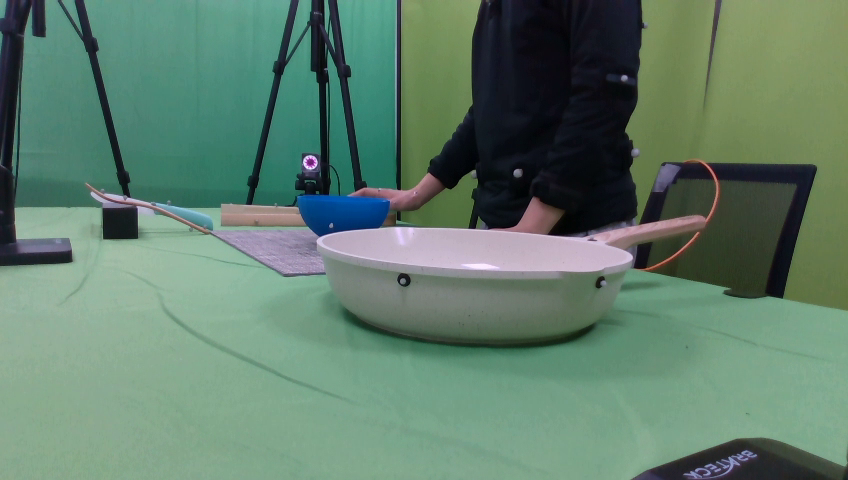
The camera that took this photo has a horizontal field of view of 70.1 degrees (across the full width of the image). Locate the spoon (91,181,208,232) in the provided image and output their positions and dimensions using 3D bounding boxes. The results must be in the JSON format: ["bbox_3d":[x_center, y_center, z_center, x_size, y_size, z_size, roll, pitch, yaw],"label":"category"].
[{"bbox_3d":[-0.461,-0.053,1.023,0.195,0.021,0.041,21,22,-24],"label":"spoon"}]

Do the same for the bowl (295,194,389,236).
[{"bbox_3d":[-0.132,-0.032,0.980,0.151,0.077,0.151,2,7,0],"label":"bowl"}]

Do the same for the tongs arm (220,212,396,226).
[{"bbox_3d":[-0.233,-0.046,1.292,0.389,0.028,0.028,-1,6,-27],"label":"tongs arm"}]

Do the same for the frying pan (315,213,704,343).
[{"bbox_3d":[0.133,0.014,0.629,0.490,0.102,0.305,-11,14,-29],"label":"frying pan"}]

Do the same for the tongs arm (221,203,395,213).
[{"bbox_3d":[-0.258,-0.061,1.368,0.386,0.026,0.050,1,8,-14],"label":"tongs arm"}]

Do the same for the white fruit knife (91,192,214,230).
[{"bbox_3d":[-0.477,-0.055,1.077,0.208,0.027,0.016,15,-5,-30],"label":"white fruit knife"}]
